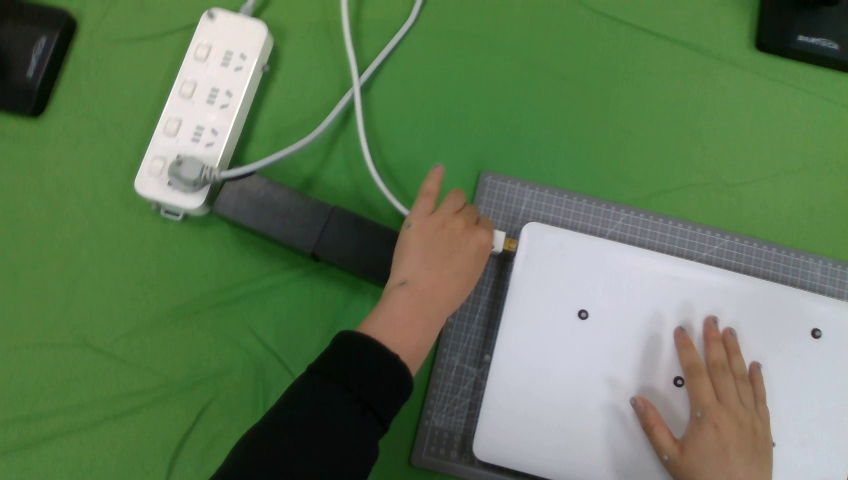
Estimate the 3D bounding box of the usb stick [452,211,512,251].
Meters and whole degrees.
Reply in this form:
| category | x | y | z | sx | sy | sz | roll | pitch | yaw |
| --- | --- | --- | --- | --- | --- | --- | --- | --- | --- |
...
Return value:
| category | x | y | z | sx | sy | sz | roll | pitch | yaw |
| --- | --- | --- | --- | --- | --- | --- | --- | --- | --- |
| usb stick | 0.058 | -0.007 | 0.598 | 0.059 | 0.027 | 0.021 | 26 | 91 | 4 |

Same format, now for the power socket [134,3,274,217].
| category | x | y | z | sx | sy | sz | roll | pitch | yaw |
| --- | --- | --- | --- | --- | --- | --- | --- | --- | --- |
| power socket | -0.217 | -0.133 | 0.605 | 0.072 | 0.032 | 0.226 | 18 | 79 | -1 |

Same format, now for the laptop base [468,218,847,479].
| category | x | y | z | sx | sy | sz | roll | pitch | yaw |
| --- | --- | --- | --- | --- | --- | --- | --- | --- | --- |
| laptop base | 0.237 | 0.131 | 0.589 | 0.354 | 0.023 | 0.235 | 14 | 83 | -1 |

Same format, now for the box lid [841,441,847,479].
| category | x | y | z | sx | sy | sz | roll | pitch | yaw |
| --- | --- | --- | --- | --- | --- | --- | --- | --- | --- |
| box lid | 0.514 | 0.313 | 0.575 | 0.263 | 0.015 | 0.370 | 14 | 80 | -1 |

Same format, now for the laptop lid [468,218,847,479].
| category | x | y | z | sx | sy | sz | roll | pitch | yaw |
| --- | --- | --- | --- | --- | --- | --- | --- | --- | --- |
| laptop lid | 0.237 | 0.131 | 0.578 | 0.357 | 0.013 | 0.241 | 16 | 82 | 0 |

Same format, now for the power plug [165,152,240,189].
| category | x | y | z | sx | sy | sz | roll | pitch | yaw |
| --- | --- | --- | --- | --- | --- | --- | --- | --- | --- |
| power plug | -0.209 | -0.057 | 0.572 | 0.072 | 0.053 | 0.035 | 29 | 78 | 1 |
